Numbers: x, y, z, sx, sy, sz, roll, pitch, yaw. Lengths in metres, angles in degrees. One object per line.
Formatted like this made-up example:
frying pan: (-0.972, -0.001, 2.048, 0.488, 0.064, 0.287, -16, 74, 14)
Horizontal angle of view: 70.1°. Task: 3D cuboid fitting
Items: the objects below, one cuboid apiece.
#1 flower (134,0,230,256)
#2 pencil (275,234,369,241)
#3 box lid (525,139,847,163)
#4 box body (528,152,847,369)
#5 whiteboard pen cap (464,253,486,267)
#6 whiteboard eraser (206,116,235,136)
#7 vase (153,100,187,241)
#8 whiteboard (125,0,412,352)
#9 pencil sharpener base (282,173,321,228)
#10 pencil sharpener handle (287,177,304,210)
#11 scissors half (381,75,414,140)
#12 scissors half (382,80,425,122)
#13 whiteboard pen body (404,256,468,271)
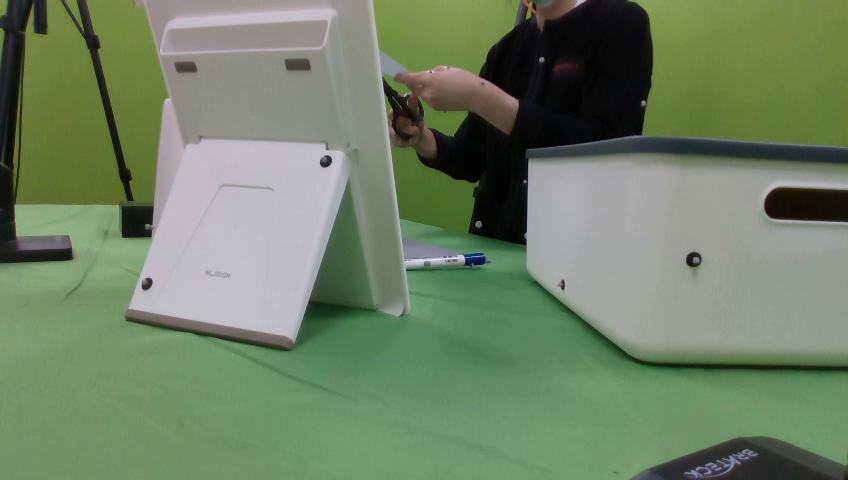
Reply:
flower: (-0.282, -0.147, 0.713, 0.038, 0.362, 0.044, -23, 24, -31)
pencil: (-0.169, -0.006, 1.036, 0.195, 0.012, 0.012, -2, 9, -45)
box lid: (0.261, -0.078, 0.580, 0.264, 0.015, 0.371, 2, 7, -4)
box body: (0.258, -0.005, 0.591, 0.254, 0.160, 0.363, 2, 7, -4)
whiteboard pen cap: (0.066, 0.027, 0.818, 0.033, 0.018, 0.018, -6, 10, -24)
whiteboard eraser: (-0.450, -0.252, 1.335, 0.056, 0.042, 0.112, 1, 7, -22)
vase: (-0.278, -0.066, 0.736, 0.098, 0.200, 0.098, 2, 9, 0)
whiteboard: (-0.151, -0.049, 0.472, 0.216, 0.305, 0.144, 6, 27, 24)
pencil sharpener base: (-0.247, -0.080, 1.212, 0.061, 0.107, 0.076, -2, 5, -28)
pencil sharpener handle: (-0.269, -0.096, 1.257, 0.036, 0.067, 0.030, -8, 8, -27)
scissors half: (-0.062, -0.243, 1.048, 0.012, 0.176, 0.040, 15, 56, 42)
scissors half: (-0.051, -0.261, 1.054, 0.013, 0.040, 0.176, 9, -14, 40)
whiteboard pen body: (0.013, 0.030, 0.792, 0.141, 0.017, 0.017, -3, 9, -24)
